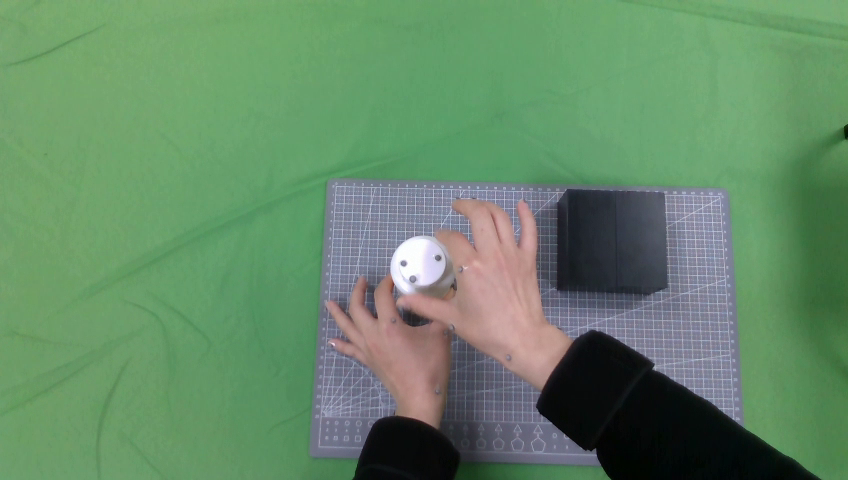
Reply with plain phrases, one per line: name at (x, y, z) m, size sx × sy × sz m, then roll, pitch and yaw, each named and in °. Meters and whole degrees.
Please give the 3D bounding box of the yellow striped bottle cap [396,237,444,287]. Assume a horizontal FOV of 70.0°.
yellow striped bottle cap at (-0.003, 0.020, 0.548) m, size 0.044 × 0.019 × 0.044 m, roll 0°, pitch 82°, yaw 0°

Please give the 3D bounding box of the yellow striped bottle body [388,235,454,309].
yellow striped bottle body at (-0.002, 0.032, 0.602) m, size 0.063 × 0.120 × 0.062 m, roll 0°, pitch 78°, yaw 0°
